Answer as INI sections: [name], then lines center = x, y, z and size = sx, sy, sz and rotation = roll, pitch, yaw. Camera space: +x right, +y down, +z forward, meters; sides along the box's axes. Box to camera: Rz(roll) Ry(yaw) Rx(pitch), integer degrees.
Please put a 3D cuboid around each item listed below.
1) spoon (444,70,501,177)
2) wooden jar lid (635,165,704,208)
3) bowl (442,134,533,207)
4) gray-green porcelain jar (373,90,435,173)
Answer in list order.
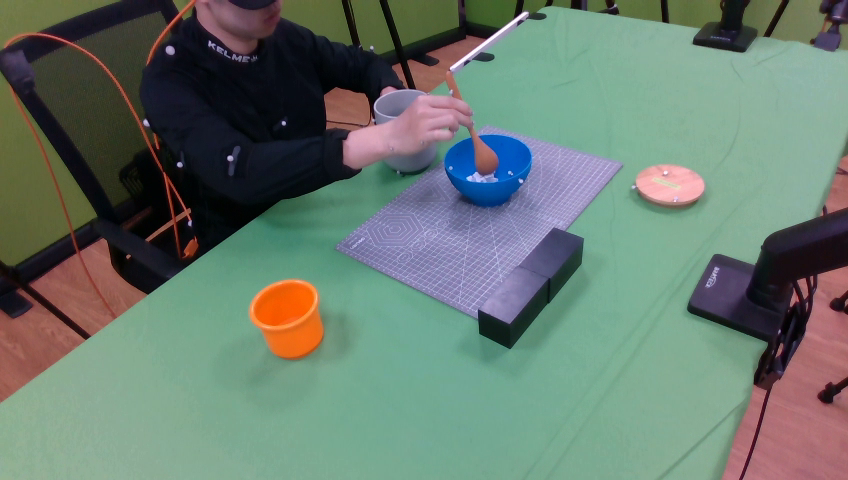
[spoon]
center = 0.073, -0.178, 0.949
size = 0.041, 0.195, 0.021
rotation = -31, 27, -1
[wooden jar lid]
center = 0.410, -0.089, 1.014
size = 0.108, 0.021, 0.108
rotation = -5, 42, 5
[bowl]
center = 0.110, -0.109, 1.033
size = 0.151, 0.077, 0.150
rotation = -4, 41, 4
[gray-green porcelain jar]
center = -0.034, -0.198, 1.125
size = 0.106, 0.127, 0.105
rotation = -4, 41, 4
